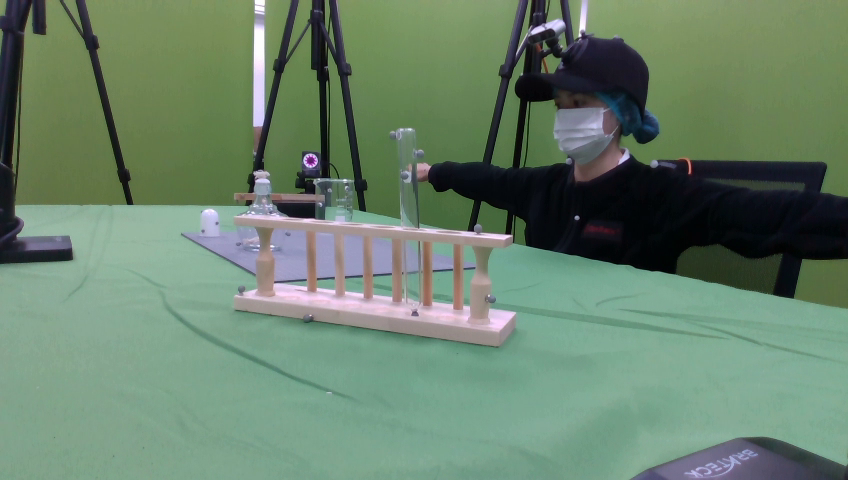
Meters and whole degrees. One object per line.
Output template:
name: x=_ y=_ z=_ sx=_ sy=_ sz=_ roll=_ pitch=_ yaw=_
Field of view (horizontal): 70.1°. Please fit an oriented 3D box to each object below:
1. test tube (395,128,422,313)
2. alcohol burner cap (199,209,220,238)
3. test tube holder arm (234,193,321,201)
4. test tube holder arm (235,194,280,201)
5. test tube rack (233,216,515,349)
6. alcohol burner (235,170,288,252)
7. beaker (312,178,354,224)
test tube: x=-0.013 y=-0.015 z=0.491 sx=0.017 sy=0.150 sz=0.017 roll=-2 pitch=5 yaw=1
alcohol burner cap: x=-0.356 y=-0.027 z=1.002 sx=0.034 sy=0.048 sz=0.034 roll=2 pitch=7 yaw=0
test tube holder arm: x=-0.299 y=-0.088 z=1.248 sx=0.179 sy=0.015 sz=0.013 roll=-1 pitch=16 yaw=-30
test tube holder arm: x=-0.336 y=-0.086 z=1.221 sx=0.088 sy=0.015 sz=0.010 roll=-1 pitch=16 yaw=-29
test tube rack: x=-0.045 y=0.029 z=0.526 sx=0.241 sy=0.085 sz=0.067 roll=5 pitch=7 yaw=19
alcohol burner: x=-0.236 y=-0.042 z=0.882 sx=0.078 sy=0.119 sz=0.078 roll=2 pitch=9 yaw=0
beaker: x=-0.174 y=-0.065 z=1.140 sx=0.084 sy=0.100 sz=0.073 roll=-5 pitch=10 yaw=-41
